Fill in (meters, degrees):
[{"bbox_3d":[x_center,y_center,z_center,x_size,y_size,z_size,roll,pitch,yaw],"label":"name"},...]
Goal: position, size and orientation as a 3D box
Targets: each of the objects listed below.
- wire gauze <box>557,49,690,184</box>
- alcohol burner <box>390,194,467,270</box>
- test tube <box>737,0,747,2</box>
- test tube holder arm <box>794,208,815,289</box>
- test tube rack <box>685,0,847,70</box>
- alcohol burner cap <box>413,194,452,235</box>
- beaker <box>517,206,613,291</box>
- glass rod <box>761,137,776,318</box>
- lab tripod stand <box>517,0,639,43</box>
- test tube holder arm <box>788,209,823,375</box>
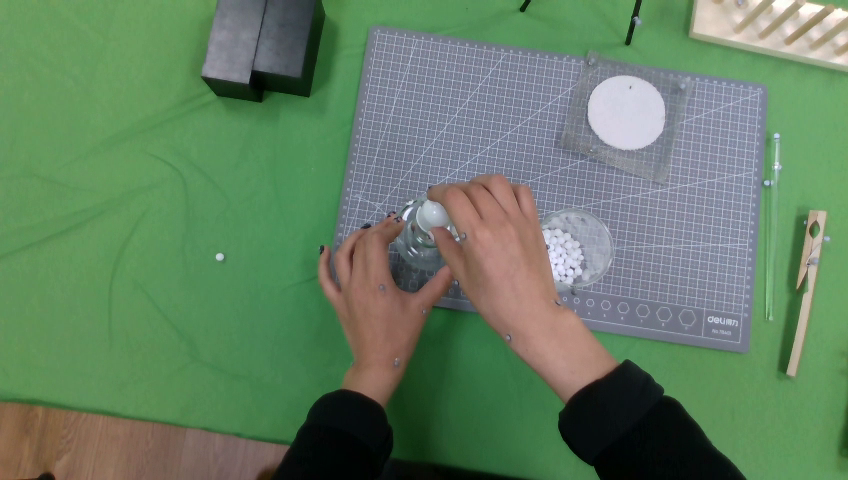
[{"bbox_3d":[0.220,-0.139,0.668,0.125,0.011,0.121,20,83,1],"label":"wire gauze"},{"bbox_3d":[0.004,-0.011,0.592,0.078,0.119,0.077,0,81,1],"label":"alcohol burner"},{"bbox_3d":[0.358,-0.280,0.604,0.017,0.150,0.017,0,82,-3],"label":"test tube"},{"bbox_3d":[0.408,0.010,0.649,0.010,0.015,0.087,7,81,36],"label":"test tube holder arm"},{"bbox_3d":[0.421,-0.244,0.650,0.242,0.085,0.066,12,82,1],"label":"test tube rack"},{"bbox_3d":[0.009,-0.025,0.530,0.034,0.048,0.033,1,80,-7],"label":"alcohol burner cap"},{"bbox_3d":[0.131,0.013,0.599,0.084,0.100,0.073,1,81,0],"label":"beaker"},{"bbox_3d":[0.374,-0.015,0.656,0.008,0.008,0.199,6,84,0],"label":"glass rod"},{"bbox_3d":[0.178,-0.284,0.627,0.148,0.132,0.148,0,84,0],"label":"lab tripod stand"},{"bbox_3d":[0.403,0.054,0.640,0.013,0.015,0.178,7,80,36],"label":"test tube holder arm"}]
